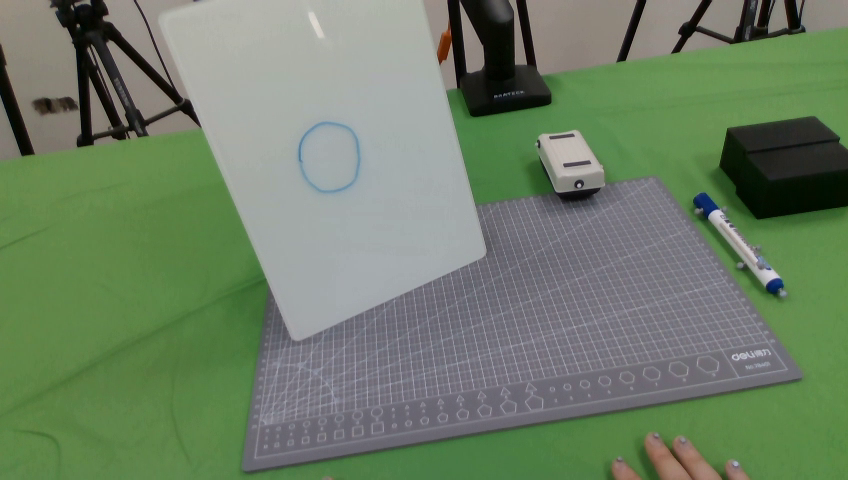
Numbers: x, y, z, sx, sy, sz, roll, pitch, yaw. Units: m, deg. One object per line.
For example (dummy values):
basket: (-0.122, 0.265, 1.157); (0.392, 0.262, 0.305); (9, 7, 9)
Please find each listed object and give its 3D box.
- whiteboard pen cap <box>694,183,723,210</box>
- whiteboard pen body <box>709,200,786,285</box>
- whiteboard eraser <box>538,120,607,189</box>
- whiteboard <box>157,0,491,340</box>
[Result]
whiteboard pen cap: (0.302, -0.045, 0.641); (0.018, 0.018, 0.033); (-11, 39, -2)
whiteboard pen body: (0.311, -0.007, 0.598); (0.017, 0.017, 0.139); (-10, 40, -2)
whiteboard eraser: (0.172, -0.100, 0.710); (0.055, 0.042, 0.111); (-10, 37, 2)
whiteboard: (-0.091, -0.100, 0.598); (0.217, 0.307, 0.142); (-24, 23, -16)
